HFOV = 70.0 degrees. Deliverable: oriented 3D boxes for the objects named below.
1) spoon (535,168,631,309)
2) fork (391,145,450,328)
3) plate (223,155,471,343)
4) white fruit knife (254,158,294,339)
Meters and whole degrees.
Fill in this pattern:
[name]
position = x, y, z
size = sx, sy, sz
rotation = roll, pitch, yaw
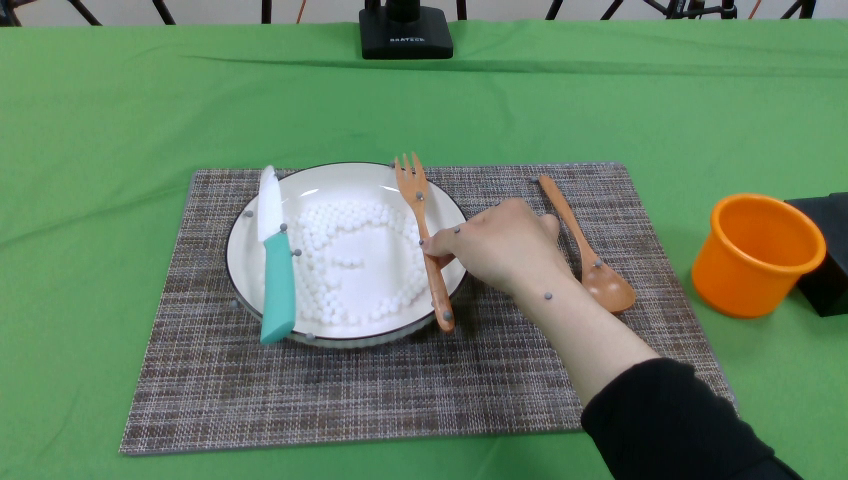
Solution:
[spoon]
position = 0.140, -0.009, 0.565
size = 0.041, 0.022, 0.191
rotation = -19, 49, 3
[fork]
position = -0.003, -0.012, 0.517
size = 0.028, 0.019, 0.205
rotation = -10, 47, -4
[plate]
position = -0.064, 0.005, 0.527
size = 0.209, 0.038, 0.207
rotation = 2, 47, -2
[white fruit knife]
position = -0.126, -0.005, 0.502
size = 0.027, 0.016, 0.205
rotation = -9, 48, -9
